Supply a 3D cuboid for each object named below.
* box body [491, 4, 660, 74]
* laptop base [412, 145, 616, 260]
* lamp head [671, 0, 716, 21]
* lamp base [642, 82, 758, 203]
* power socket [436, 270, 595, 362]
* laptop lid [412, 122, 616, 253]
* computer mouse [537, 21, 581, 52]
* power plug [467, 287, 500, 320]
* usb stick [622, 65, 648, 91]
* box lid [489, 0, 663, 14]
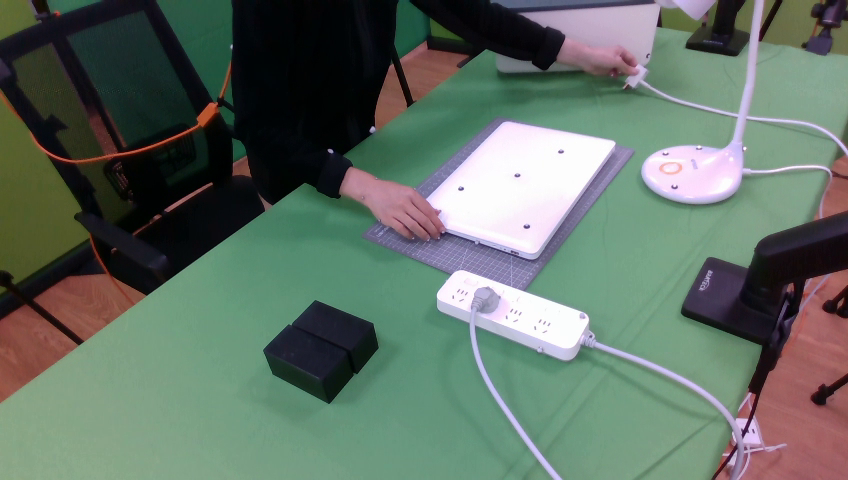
[{"bbox_3d":[0.346,-0.520,1.429,0.363,0.161,0.253,0,41,9],"label":"box body"},{"bbox_3d":[0.168,-0.101,1.072,0.234,0.023,0.355,17,45,30],"label":"laptop base"},{"bbox_3d":[0.375,-0.373,0.807,0.122,0.113,0.112,-40,27,32],"label":"lamp head"},{"bbox_3d":[0.464,-0.174,0.992,0.179,0.181,0.159,-5,41,-2],"label":"lamp base"},{"bbox_3d":[0.118,0.101,0.832,0.225,0.033,0.072,19,48,27],"label":"power socket"},{"bbox_3d":[0.165,-0.110,1.066,0.240,0.013,0.357,19,46,31],"label":"laptop lid"},{"bbox_3d":[0.335,-0.503,1.487,0.118,0.041,0.062,22,19,-28],"label":"computer mouse"},{"bbox_3d":[0.073,0.092,0.814,0.035,0.053,0.073,29,54,34],"label":"power plug"},{"bbox_3d":[0.450,-0.342,1.295,0.021,0.059,0.027,-7,49,-52],"label":"usb stick"},{"bbox_3d":[0.340,-0.575,1.380,0.371,0.015,0.262,0,41,9],"label":"box lid"}]
